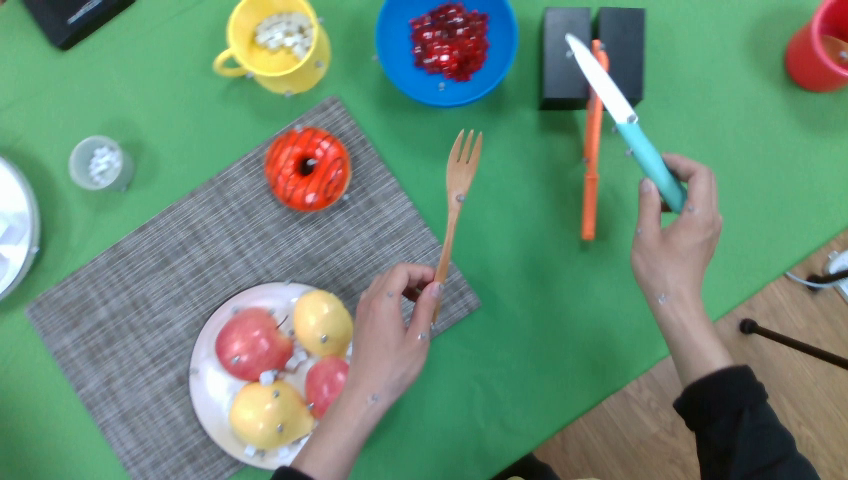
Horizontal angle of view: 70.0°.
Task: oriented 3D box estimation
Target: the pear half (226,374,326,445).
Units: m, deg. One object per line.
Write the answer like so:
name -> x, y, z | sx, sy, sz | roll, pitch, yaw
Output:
pear half -> -0.161, 0.192, 0.663 | 0.110, 0.056, 0.076 | 17, 91, 0

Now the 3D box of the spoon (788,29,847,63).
spoon -> 0.477, -0.193, 0.621 | 0.192, 0.022, 0.041 | 29, 88, 48

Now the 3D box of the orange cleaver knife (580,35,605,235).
orange cleaver knife -> 0.182, -0.111, 0.661 | 0.012, 0.077, 0.212 | 2, 112, 7

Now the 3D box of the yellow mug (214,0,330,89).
yellow mug -> -0.177, -0.225, 0.689 | 0.131, 0.064, 0.100 | -24, 86, 2

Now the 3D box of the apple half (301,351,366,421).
apple half -> -0.108, 0.163, 0.660 | 0.081, 0.033, 0.081 | 4, 103, 19

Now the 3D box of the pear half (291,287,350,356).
pear half -> -0.119, 0.096, 0.667 | 0.070, 0.031, 0.088 | -10, 91, 21

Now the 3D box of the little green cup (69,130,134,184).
little green cup -> -0.372, -0.093, 0.704 | 0.061, 0.039, 0.061 | 0, 87, 3

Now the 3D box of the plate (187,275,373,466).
plate -> -0.158, 0.143, 0.680 | 0.209, 0.038, 0.208 | 0, 87, 3

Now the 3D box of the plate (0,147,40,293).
plate -> -0.546, -0.021, 0.707 | 0.207, 0.039, 0.207 | 0, 87, 2

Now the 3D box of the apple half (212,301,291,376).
apple half -> -0.194, 0.111, 0.666 | 0.074, 0.053, 0.081 | -29, 90, 1

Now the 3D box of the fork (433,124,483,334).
fork -> 0.029, -0.004, 0.565 | 0.018, 0.028, 0.208 | 18, 111, 12

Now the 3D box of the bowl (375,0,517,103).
bowl -> 0.024, -0.219, 0.675 | 0.151, 0.077, 0.151 | 0, 88, 2

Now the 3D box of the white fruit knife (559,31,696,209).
white fruit knife -> 0.188, -0.111, 0.570 | 0.027, 0.016, 0.207 | -36, 91, -15

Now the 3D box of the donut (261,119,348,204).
donut -> -0.135, -0.088, 0.687 | 0.099, 0.048, 0.099 | 0, 89, 4
